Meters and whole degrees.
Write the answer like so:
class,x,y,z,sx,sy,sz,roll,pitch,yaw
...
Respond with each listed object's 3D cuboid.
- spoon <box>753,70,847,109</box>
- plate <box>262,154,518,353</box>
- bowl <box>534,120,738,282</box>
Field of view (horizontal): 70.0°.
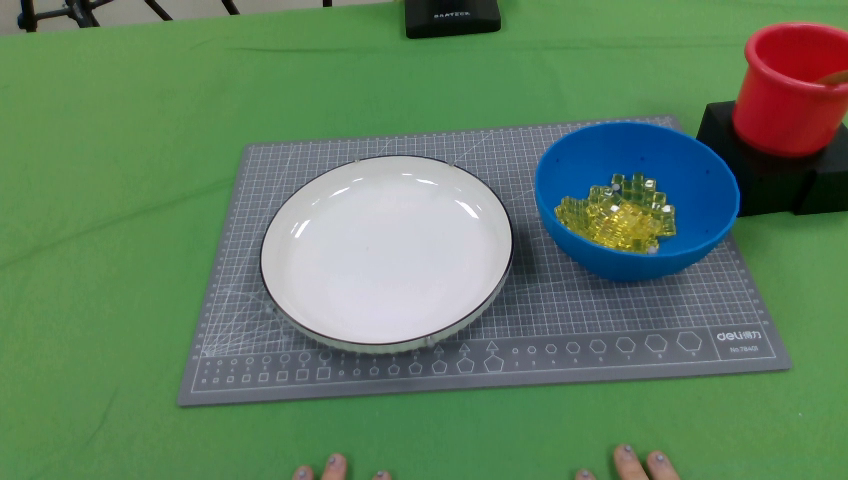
class,x,y,z,sx,sy,sz,roll,pitch,yaw
spoon,0.304,-0.116,0.455,0.041,0.021,0.193,2,5,5
plate,-0.027,0.009,0.508,0.207,0.039,0.205,-2,49,3
bowl,0.162,-0.019,0.489,0.151,0.077,0.150,-2,49,3
